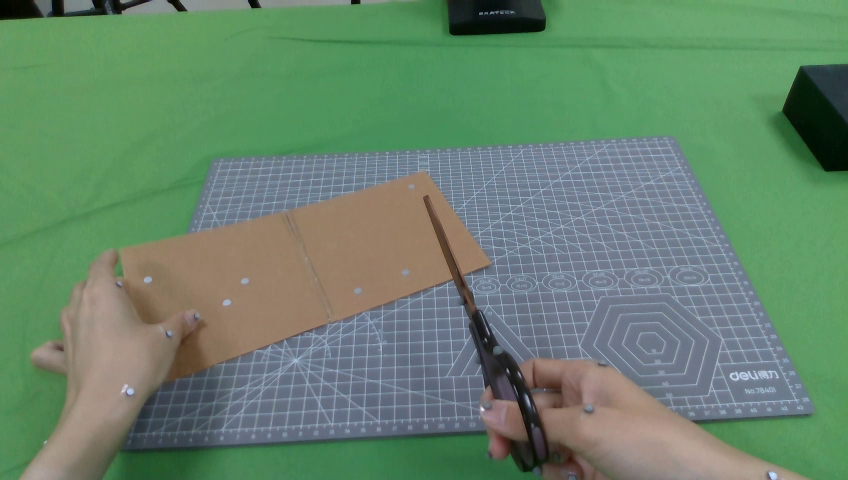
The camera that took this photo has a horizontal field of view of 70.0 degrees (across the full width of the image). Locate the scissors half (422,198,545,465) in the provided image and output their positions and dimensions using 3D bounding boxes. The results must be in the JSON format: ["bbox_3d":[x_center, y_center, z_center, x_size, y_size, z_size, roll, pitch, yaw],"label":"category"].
[{"bbox_3d":[0.028,0.041,0.344,0.013,0.040,0.173,-20,56,-6],"label":"scissors half"}]

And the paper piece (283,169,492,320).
[{"bbox_3d":[-0.034,-0.004,0.507,0.138,0.009,0.134,-17,51,-15],"label":"paper piece"}]

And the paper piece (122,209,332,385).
[{"bbox_3d":[-0.156,0.036,0.471,0.136,0.004,0.134,-15,52,-18],"label":"paper piece"}]

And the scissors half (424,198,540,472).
[{"bbox_3d":[0.029,0.051,0.362,0.013,0.040,0.174,-17,72,-10],"label":"scissors half"}]
